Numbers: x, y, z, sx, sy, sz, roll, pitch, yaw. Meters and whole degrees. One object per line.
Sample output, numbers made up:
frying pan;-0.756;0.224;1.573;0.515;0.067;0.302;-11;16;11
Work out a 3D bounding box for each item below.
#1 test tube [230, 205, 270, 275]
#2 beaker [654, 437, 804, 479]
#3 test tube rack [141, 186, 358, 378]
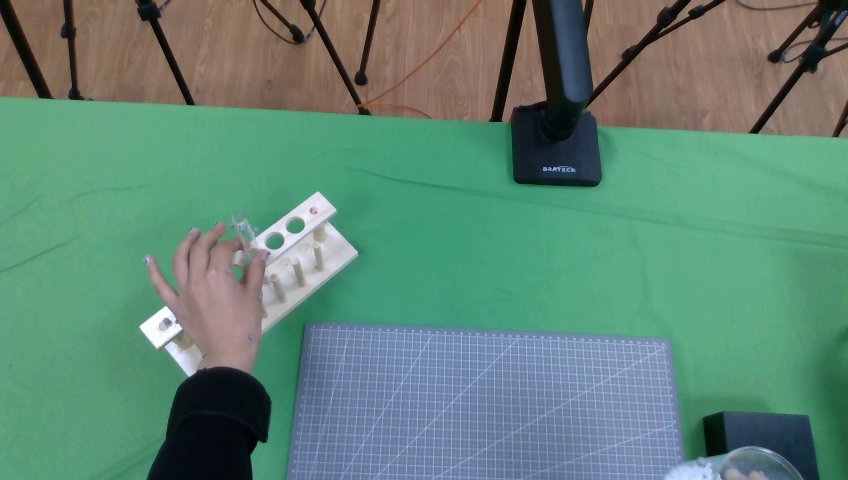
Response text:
test tube;-0.191;0.004;0.673;0.017;0.151;0.017;2;63;-3
beaker;0.225;0.198;0.459;0.074;0.101;0.083;29;66;7
test tube rack;-0.193;0.048;0.708;0.242;0.086;0.066;-40;75;-18
